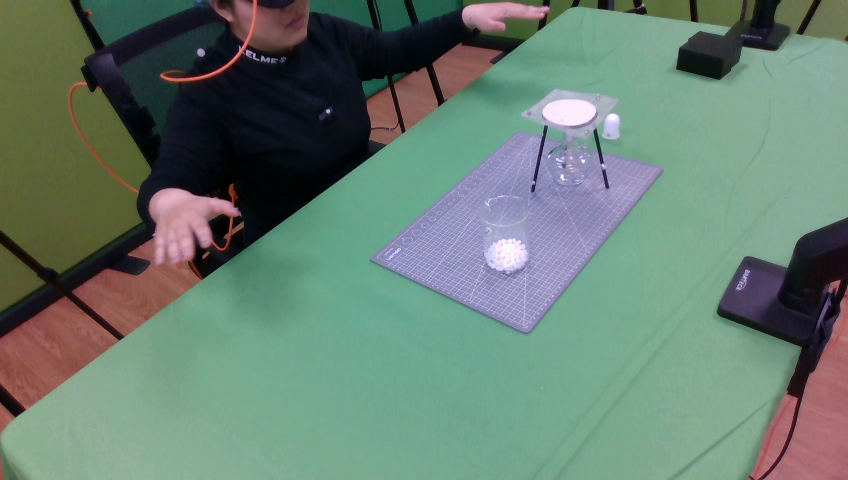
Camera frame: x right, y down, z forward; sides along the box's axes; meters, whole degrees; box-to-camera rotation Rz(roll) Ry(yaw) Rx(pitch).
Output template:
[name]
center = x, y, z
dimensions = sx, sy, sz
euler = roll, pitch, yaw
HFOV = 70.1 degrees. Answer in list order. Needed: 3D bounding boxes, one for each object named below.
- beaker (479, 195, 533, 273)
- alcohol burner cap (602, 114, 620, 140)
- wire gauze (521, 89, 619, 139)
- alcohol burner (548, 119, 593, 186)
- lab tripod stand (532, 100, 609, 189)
[beaker]
center = 0.122, -0.007, 0.904
dimensions = 0.074, 0.101, 0.083
euler = -30, 43, -23
[alcohol burner cap]
center = 0.359, -0.217, 1.157
dimensions = 0.034, 0.048, 0.033
euler = -7, 40, 6
[wire gauze]
center = 0.239, -0.213, 0.994
dimensions = 0.124, 0.011, 0.122
euler = 24, 49, 32
[alcohol burner]
center = 0.252, -0.154, 1.042
dimensions = 0.078, 0.120, 0.077
euler = -7, 40, 6
[lab tripod stand]
center = 0.251, -0.161, 1.034
dimensions = 0.148, 0.132, 0.147
euler = -4, 39, 4
